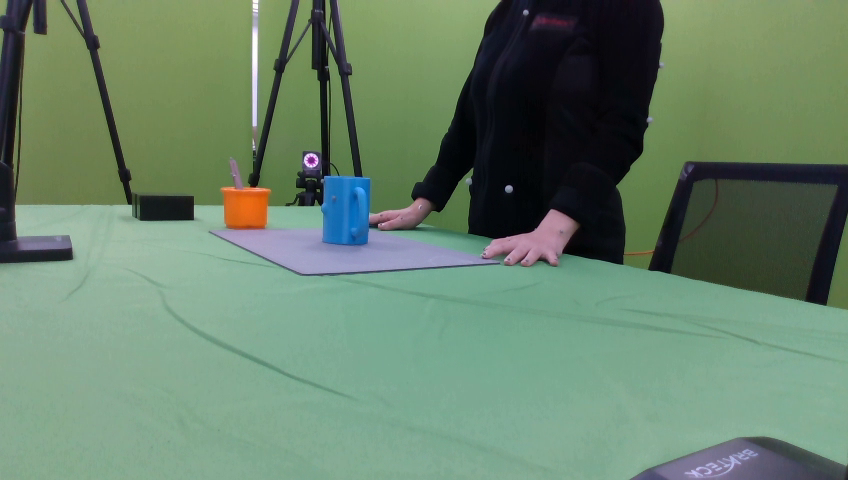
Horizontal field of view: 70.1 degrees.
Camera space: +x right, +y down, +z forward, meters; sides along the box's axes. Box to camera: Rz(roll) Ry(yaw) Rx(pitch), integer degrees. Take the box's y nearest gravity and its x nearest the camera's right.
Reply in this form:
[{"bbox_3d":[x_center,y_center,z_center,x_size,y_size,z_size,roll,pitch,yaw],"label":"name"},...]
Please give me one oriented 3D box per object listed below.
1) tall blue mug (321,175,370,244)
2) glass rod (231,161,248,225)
[{"bbox_3d":[-0.116,-0.049,0.991,0.106,0.108,0.078,7,8,33],"label":"tall blue mug"},{"bbox_3d":[-0.355,-0.093,1.161,0.008,0.008,0.199,-1,42,-26],"label":"glass rod"}]
